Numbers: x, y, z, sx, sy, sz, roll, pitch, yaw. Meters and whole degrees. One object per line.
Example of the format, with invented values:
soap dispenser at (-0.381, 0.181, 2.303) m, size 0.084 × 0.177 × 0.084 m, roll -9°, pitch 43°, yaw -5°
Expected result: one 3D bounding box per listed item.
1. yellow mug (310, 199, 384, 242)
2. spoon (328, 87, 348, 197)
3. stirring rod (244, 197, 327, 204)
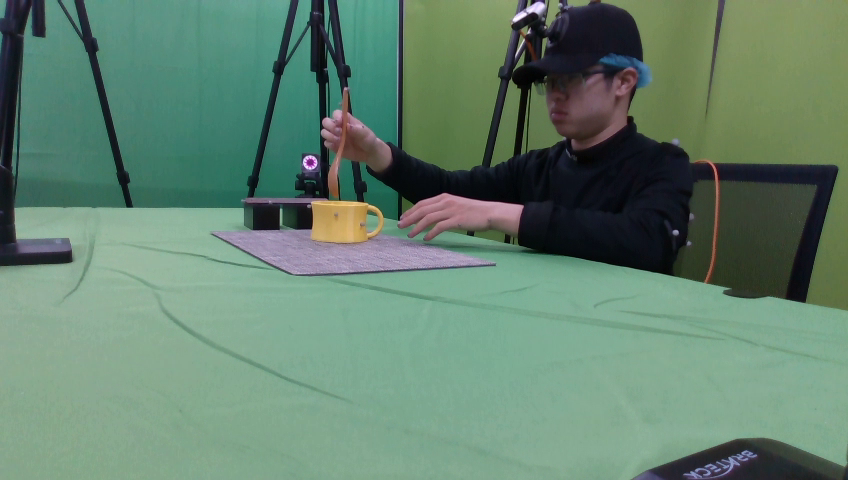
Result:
yellow mug at (-0.132, -0.035, 1.054) m, size 0.131 × 0.064 × 0.099 m, roll 0°, pitch 8°, yaw -23°
spoon at (-0.149, -0.173, 1.070) m, size 0.022 × 0.193 × 0.041 m, roll 9°, pitch 2°, yaw -24°
stirring rod at (-0.270, -0.078, 1.201) m, size 0.177 × 0.006 × 0.014 m, roll -2°, pitch 44°, yaw -37°
